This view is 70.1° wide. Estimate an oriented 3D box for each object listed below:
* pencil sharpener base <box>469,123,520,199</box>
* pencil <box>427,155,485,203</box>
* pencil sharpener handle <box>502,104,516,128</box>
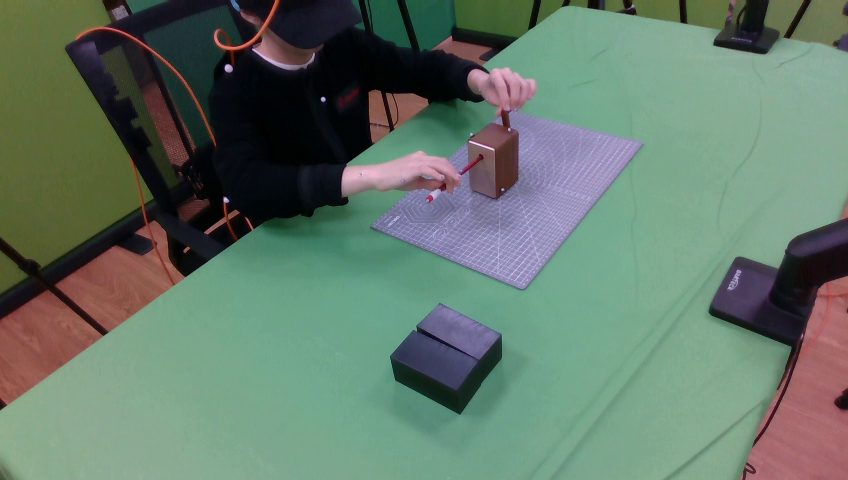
[{"bbox_3d":[0.125,-0.138,1.050,0.061,0.107,0.077,25,50,33],"label":"pencil sharpener base"},{"bbox_3d":[0.069,-0.113,0.989,0.012,0.012,0.194,26,50,33],"label":"pencil"},{"bbox_3d":[0.152,-0.200,1.051,0.035,0.068,0.031,18,46,39],"label":"pencil sharpener handle"}]
